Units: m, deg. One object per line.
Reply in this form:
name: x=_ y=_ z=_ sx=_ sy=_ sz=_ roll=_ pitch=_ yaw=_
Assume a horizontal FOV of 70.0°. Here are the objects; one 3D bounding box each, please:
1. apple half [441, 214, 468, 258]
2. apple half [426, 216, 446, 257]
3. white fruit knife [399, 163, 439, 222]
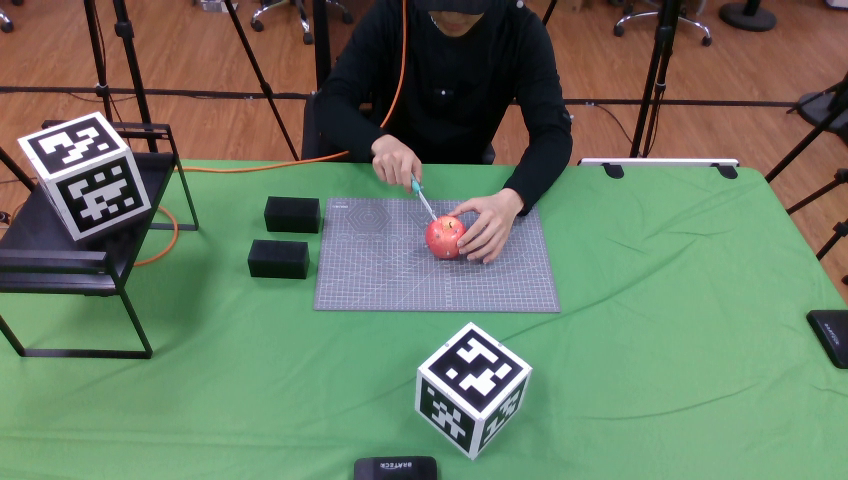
apple half: x=0.057 y=-0.006 z=1.163 sx=0.053 sy=0.075 sz=0.080 roll=-2 pitch=42 yaw=-11
apple half: x=0.019 y=-0.003 z=1.156 sx=0.033 sy=0.081 sz=0.081 roll=-2 pitch=47 yaw=-10
white fruit knife: x=-0.009 y=-0.093 z=1.144 sx=0.016 sy=0.027 sz=0.206 roll=-21 pitch=41 yaw=-9
